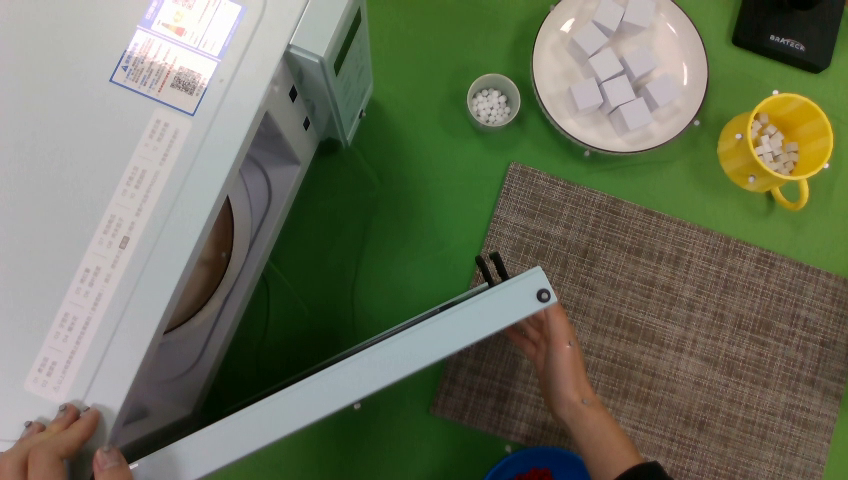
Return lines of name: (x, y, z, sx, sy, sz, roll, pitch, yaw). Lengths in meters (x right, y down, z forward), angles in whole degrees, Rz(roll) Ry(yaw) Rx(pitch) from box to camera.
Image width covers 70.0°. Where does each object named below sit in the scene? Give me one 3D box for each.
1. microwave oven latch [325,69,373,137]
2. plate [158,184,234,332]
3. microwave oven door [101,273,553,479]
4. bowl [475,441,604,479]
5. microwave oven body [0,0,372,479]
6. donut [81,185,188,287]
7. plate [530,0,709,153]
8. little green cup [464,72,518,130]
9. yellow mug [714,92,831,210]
microwave oven latch: (-0.083, -0.156, 0.670, 0.030, 0.029, 0.079, 26, 84, -1)
plate: (-0.291, -0.008, 0.594, 0.209, 0.038, 0.208, 0, 87, -6)
microwave oven door: (-0.074, 0.118, 0.540, 0.356, 0.244, 0.039, -25, 84, -6)
bowl: (0.114, 0.281, 0.635, 0.151, 0.077, 0.151, 0, 83, -3)
microwave oven body: (-0.282, -0.060, 0.551, 0.326, 0.260, 0.441, 22, 84, -1)
donut: (-0.277, -0.005, 0.584, 0.099, 0.048, 0.099, 0, 87, -2)
plate: (0.225, -0.201, 0.712, 0.208, 0.039, 0.207, 0, 84, -3)
little green cup: (0.075, -0.157, 0.696, 0.061, 0.038, 0.061, 0, 85, -4)
yellow mug: (0.404, -0.097, 0.698, 0.100, 0.064, 0.130, -18, 86, -5)
